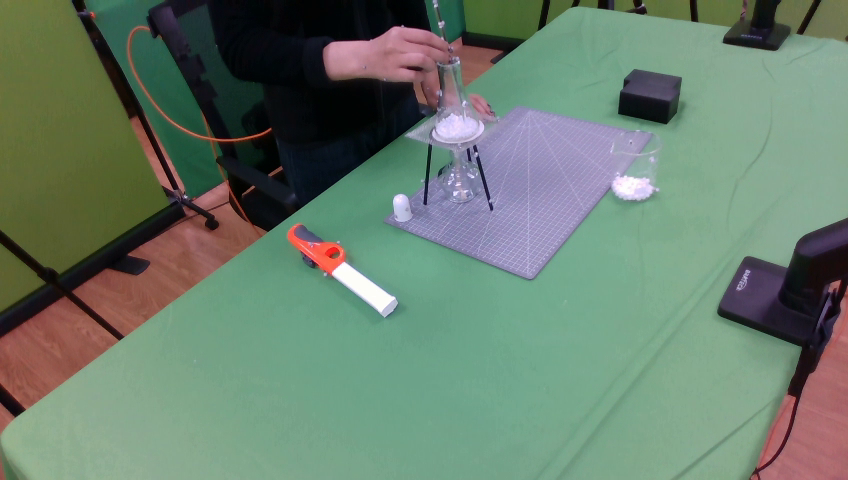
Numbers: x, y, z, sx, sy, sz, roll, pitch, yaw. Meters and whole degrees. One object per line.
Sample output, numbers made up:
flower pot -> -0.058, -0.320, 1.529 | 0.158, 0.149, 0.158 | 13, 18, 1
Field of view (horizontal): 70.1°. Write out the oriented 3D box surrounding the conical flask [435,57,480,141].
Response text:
conical flask -> 0.046, -0.224, 0.954 | 0.075, 0.122, 0.075 | -7, 39, 6

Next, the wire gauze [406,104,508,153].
wire gauze -> 0.054, -0.183, 0.997 | 0.120, 0.011, 0.125 | 25, 53, 38

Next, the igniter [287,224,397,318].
igniter -> -0.139, 0.042, 0.958 | 0.057, 0.025, 0.274 | -41, 49, -19

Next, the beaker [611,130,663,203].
beaker -> 0.346, -0.118, 0.998 | 0.084, 0.101, 0.073 | -17, 40, -7

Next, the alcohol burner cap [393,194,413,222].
alcohol burner cap -> -0.039, -0.057, 1.038 | 0.034, 0.048, 0.033 | -5, 40, 5

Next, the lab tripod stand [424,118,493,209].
lab tripod stand -> 0.061, -0.133, 1.039 | 0.148, 0.132, 0.147 | -6, 38, 6

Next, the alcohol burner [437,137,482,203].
alcohol burner -> 0.060, -0.125, 1.045 | 0.078, 0.119, 0.077 | -5, 38, 4

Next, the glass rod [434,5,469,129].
glass rod -> 0.043, -0.257, 0.920 | 0.008, 0.201, 0.008 | -12, 36, 10
